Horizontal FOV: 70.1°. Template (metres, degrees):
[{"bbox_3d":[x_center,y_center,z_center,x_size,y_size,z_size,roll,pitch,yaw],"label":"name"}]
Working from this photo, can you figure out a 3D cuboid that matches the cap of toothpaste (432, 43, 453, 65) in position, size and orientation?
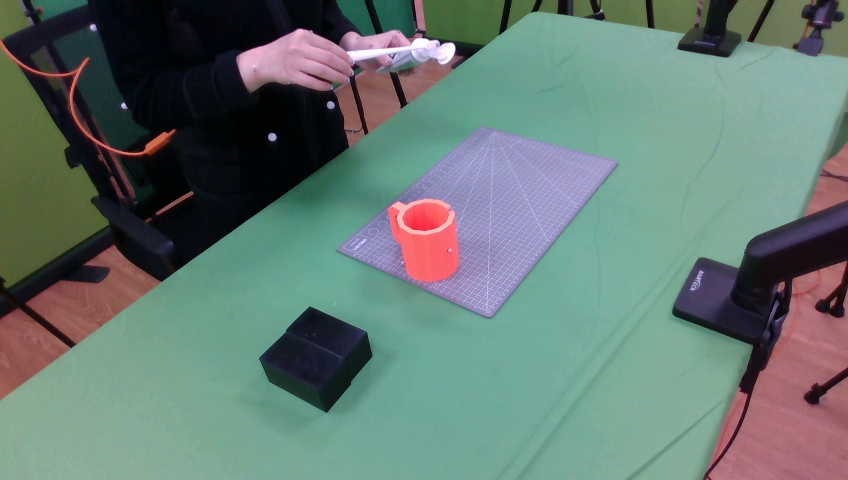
[{"bbox_3d":[0.028,-0.286,0.920,0.037,0.011,0.037,-17,63,38],"label":"cap of toothpaste"}]

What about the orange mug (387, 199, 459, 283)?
[{"bbox_3d":[-0.006,-0.007,0.923,0.125,0.101,0.084,32,54,32],"label":"orange mug"}]

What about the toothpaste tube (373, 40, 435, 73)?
[{"bbox_3d":[-0.028,-0.294,0.989,0.055,0.034,0.164,-6,5,-26],"label":"toothpaste tube"}]

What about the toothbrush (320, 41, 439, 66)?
[{"bbox_3d":[-0.063,-0.273,0.884,0.183,0.014,0.016,-14,17,-18],"label":"toothbrush"}]
